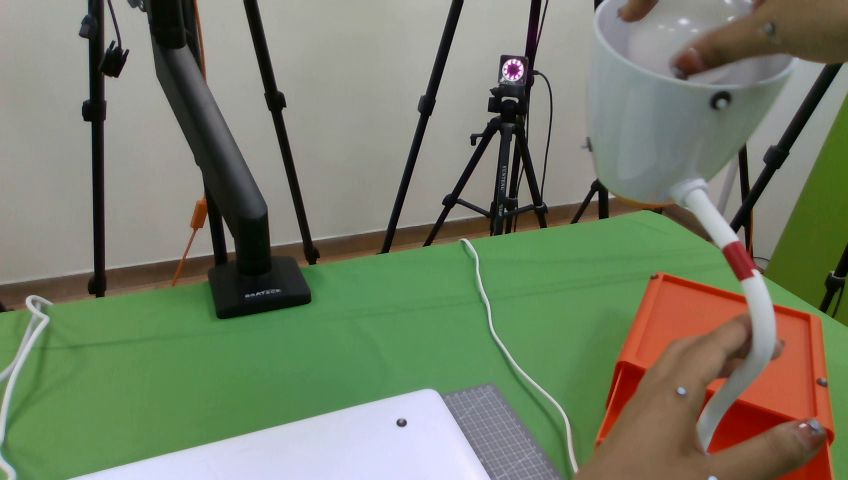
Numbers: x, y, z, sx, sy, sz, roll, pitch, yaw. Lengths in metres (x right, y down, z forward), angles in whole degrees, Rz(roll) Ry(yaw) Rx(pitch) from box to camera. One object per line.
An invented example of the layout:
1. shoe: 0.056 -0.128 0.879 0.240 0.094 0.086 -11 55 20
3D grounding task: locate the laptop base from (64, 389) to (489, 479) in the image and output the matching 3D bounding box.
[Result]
1. laptop base: -0.107 0.243 0.493 0.356 0.023 0.233 -8 34 -22

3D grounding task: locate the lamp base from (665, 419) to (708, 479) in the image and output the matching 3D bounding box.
1. lamp base: 0.171 0.222 0.395 0.161 0.181 0.177 1 26 -8

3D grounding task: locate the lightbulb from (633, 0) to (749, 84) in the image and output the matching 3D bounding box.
1. lightbulb: 0.151 -0.097 0.358 0.059 0.109 0.059 -4 50 5

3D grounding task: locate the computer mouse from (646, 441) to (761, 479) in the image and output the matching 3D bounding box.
1. computer mouse: 0.256 0.223 0.547 0.117 0.041 0.062 16 30 14

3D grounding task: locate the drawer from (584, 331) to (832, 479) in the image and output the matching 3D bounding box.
1. drawer: 0.278 0.184 0.592 0.193 0.074 0.211 15 30 21

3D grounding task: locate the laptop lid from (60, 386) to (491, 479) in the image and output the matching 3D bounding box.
1. laptop lid: -0.106 0.234 0.486 0.358 0.013 0.239 -8 33 -21

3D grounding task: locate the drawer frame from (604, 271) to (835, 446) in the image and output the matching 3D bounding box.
1. drawer frame: 0.329 0.137 0.681 0.200 0.083 0.213 16 30 22

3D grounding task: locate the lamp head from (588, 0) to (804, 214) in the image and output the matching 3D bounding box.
1. lamp head: 0.154 -0.077 0.376 0.112 0.124 0.111 -1 43 1
